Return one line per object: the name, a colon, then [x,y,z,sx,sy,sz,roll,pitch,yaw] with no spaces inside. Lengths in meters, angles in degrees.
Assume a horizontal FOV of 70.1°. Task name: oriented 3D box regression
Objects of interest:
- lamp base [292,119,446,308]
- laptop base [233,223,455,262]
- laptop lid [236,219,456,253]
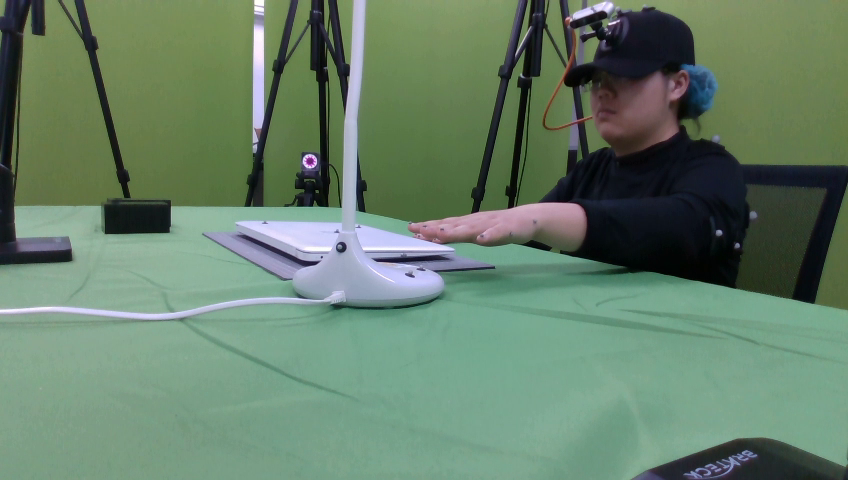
lamp base: [-0.056,-0.030,0.616,0.160,0.180,0.179,4,10,8]
laptop base: [-0.141,0.003,0.959,0.237,0.023,0.352,2,6,-32]
laptop lid: [-0.139,-0.009,0.959,0.243,0.013,0.355,1,7,-30]
